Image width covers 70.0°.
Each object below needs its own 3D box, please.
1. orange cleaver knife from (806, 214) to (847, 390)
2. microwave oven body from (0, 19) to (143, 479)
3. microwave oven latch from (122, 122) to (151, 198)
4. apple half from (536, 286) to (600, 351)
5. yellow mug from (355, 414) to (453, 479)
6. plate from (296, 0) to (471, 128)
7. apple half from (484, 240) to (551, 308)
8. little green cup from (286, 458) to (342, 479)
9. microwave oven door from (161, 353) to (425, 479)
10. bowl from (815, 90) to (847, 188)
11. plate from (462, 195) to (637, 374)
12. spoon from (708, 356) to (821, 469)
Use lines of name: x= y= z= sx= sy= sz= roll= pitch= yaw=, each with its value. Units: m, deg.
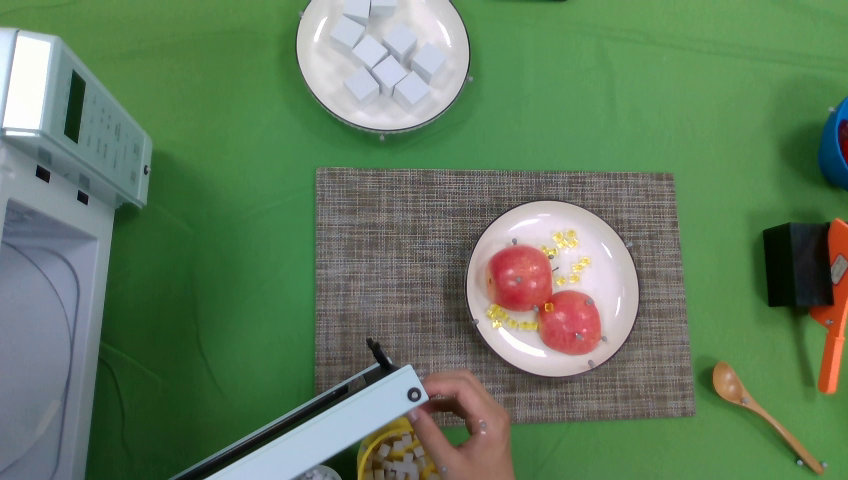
orange cleaver knife: x=0.491 y=0.076 z=0.734 sx=0.012 sy=0.077 sz=0.212 roll=1 pitch=104 yaw=-3
microwave oven body: x=-0.457 y=0.063 z=0.515 sx=0.327 sy=0.260 sz=0.440 roll=3 pitch=81 yaw=-8
microwave oven latch: x=-0.315 y=-0.087 z=0.656 sx=0.030 sy=0.029 sz=0.079 roll=4 pitch=81 yaw=-7
apple half: x=0.170 y=0.091 z=0.701 sx=0.081 sy=0.033 sz=0.081 roll=2 pitch=78 yaw=-7
yellow mug: x=-0.026 y=0.257 z=0.644 sx=0.100 sy=0.064 sz=0.130 roll=11 pitch=82 yaw=-6
plate: x=-0.048 y=-0.231 z=0.734 sx=0.208 sy=0.039 sz=0.207 roll=1 pitch=81 yaw=-7
apple half: x=0.109 y=0.037 z=0.692 sx=0.075 sy=0.053 sz=0.080 roll=-2 pitch=82 yaw=-5
little green cup: x=-0.117 y=0.262 z=0.646 sx=0.062 sy=0.039 sz=0.061 roll=2 pitch=79 yaw=-8
microwave oven door: x=-0.171 y=0.202 z=0.527 sx=0.356 sy=0.244 sz=0.039 roll=-28 pitch=84 yaw=-11
bowl: x=0.564 y=-0.121 z=0.777 sx=0.152 sy=0.077 sz=0.151 roll=1 pitch=81 yaw=-7
plate: x=0.144 y=0.052 z=0.711 sx=0.209 sy=0.038 sz=0.208 roll=1 pitch=81 yaw=-8
spoon: x=0.412 y=0.212 z=0.733 sx=0.193 sy=0.022 sz=0.041 roll=42 pitch=61 yaw=1
